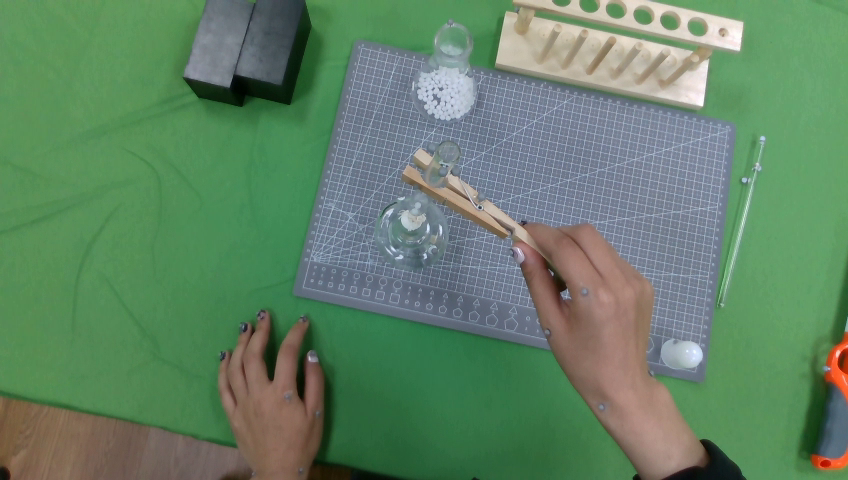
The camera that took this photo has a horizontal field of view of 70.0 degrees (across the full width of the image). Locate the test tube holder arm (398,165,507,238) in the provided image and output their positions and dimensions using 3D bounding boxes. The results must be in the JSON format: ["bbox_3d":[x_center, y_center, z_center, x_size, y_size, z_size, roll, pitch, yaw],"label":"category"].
[{"bbox_3d":[0.022,-0.027,0.432,0.088,0.015,0.010,29,79,-2],"label":"test tube holder arm"}]

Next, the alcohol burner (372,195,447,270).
[{"bbox_3d":[-0.015,-0.011,0.605,0.078,0.119,0.077,0,78,-1],"label":"alcohol burner"}]

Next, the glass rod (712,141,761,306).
[{"bbox_3d":[0.353,-0.020,0.683,0.008,0.008,0.199,19,82,0],"label":"glass rod"}]

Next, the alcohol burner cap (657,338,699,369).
[{"bbox_3d":[0.269,0.118,0.635,0.034,0.048,0.033,1,79,-3],"label":"alcohol burner cap"}]

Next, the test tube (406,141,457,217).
[{"bbox_3d":[0.003,-0.040,0.446,0.017,0.150,0.017,2,79,-9],"label":"test tube"}]

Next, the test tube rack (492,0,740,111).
[{"bbox_3d":[0.205,-0.213,0.668,0.242,0.085,0.066,12,80,-1],"label":"test tube rack"}]

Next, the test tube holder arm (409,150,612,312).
[{"bbox_3d":[0.062,-0.006,0.434,0.178,0.015,0.013,37,79,-1],"label":"test tube holder arm"}]

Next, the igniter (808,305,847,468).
[{"bbox_3d":[0.466,0.113,0.657,0.057,0.025,0.275,22,80,-10],"label":"igniter"}]

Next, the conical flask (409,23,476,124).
[{"bbox_3d":[0.023,-0.176,0.630,0.075,0.122,0.075,1,80,-3],"label":"conical flask"}]
